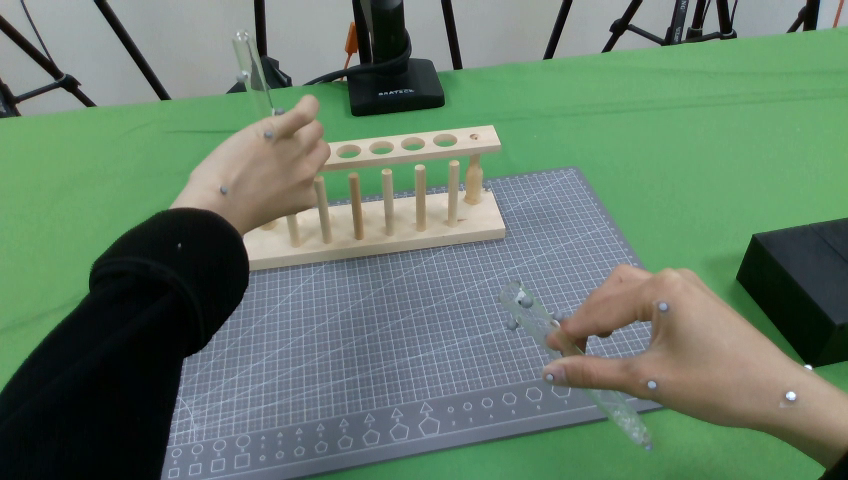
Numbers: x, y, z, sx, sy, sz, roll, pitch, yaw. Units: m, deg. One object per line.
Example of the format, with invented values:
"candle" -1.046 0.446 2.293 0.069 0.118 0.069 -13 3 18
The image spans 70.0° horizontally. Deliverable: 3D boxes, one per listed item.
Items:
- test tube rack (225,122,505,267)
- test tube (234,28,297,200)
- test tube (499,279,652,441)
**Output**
"test tube rack" -0.049 -0.042 0.556 0.242 0.086 0.066 -7 42 -5
"test tube" -0.121 -0.092 0.472 0.017 0.152 0.017 -2 44 3
"test tube" 0.092 0.074 0.352 0.017 0.151 0.017 -34 27 20
